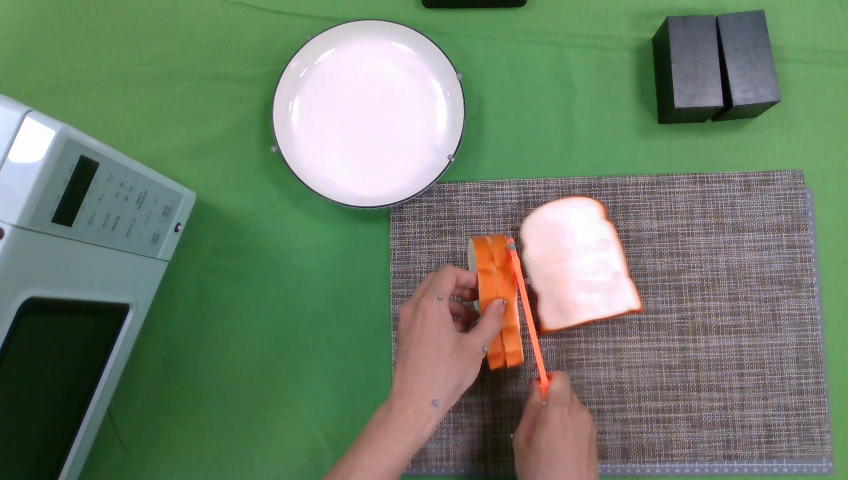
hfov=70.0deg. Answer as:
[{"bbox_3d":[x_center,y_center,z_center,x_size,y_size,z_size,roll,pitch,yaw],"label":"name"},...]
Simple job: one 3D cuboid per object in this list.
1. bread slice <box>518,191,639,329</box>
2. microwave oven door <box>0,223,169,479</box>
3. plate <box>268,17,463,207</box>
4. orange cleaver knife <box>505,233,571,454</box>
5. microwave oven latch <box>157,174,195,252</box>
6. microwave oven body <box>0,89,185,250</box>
[{"bbox_3d":[0.154,0.017,0.626,0.107,0.018,0.134,-13,83,16],"label":"bread slice"},{"bbox_3d":[-0.351,0.161,0.511,0.039,0.244,0.355,20,84,5],"label":"microwave oven door"},{"bbox_3d":[-0.061,-0.136,0.658,0.208,0.039,0.207,0,83,1],"label":"plate"},{"bbox_3d":[0.107,0.096,0.580,0.012,0.077,0.211,-15,94,6],"label":"orange cleaver knife"},{"bbox_3d":[-0.268,-0.029,0.632,0.030,0.029,0.079,22,85,3],"label":"microwave oven latch"},{"bbox_3d":[-0.473,0.072,0.529,0.326,0.261,0.441,21,85,3],"label":"microwave oven body"}]
